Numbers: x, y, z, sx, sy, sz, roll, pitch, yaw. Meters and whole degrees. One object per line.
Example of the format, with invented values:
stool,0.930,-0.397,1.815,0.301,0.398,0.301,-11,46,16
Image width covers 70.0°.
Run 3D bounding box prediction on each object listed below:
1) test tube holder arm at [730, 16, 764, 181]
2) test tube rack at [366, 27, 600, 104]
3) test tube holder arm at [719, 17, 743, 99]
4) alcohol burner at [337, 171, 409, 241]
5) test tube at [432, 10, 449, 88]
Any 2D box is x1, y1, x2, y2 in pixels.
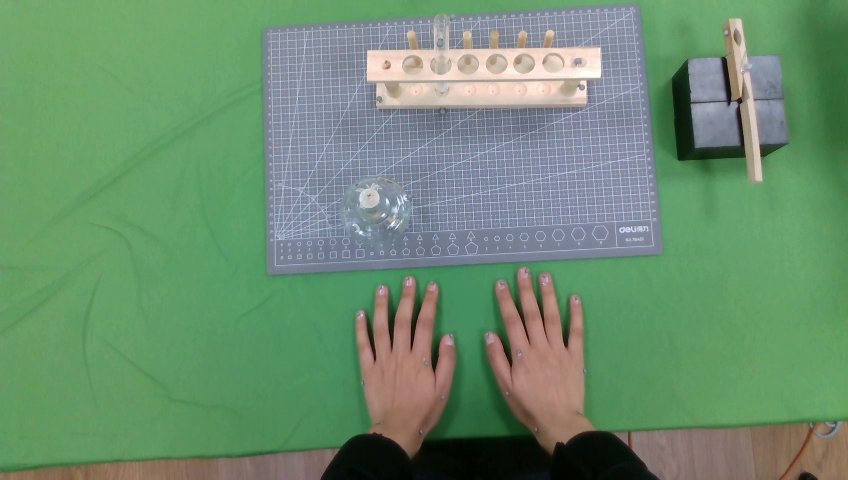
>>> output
test tube holder arm,0.342,-0.151,0.646,0.013,0.015,0.178,-7,84,-3
test tube rack,0.062,-0.197,0.671,0.242,0.085,0.066,0,83,2
test tube holder arm,0.331,-0.195,0.650,0.010,0.015,0.087,-6,84,-3
alcohol burner,-0.056,-0.040,0.642,0.078,0.119,0.077,0,82,1
test tube,0.017,-0.191,0.622,0.017,0.150,0.017,0,82,2
